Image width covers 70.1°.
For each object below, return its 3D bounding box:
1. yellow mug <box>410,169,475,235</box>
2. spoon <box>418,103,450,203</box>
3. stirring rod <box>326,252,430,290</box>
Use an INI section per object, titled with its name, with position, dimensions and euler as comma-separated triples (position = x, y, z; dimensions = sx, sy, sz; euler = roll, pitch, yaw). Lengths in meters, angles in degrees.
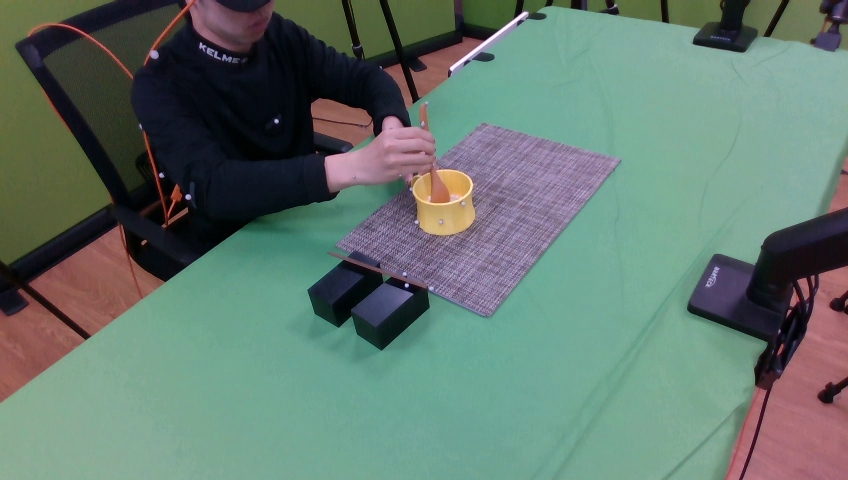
[yellow mug]
position = 0.022, -0.070, 1.007
dimensions = 0.129, 0.064, 0.100
euler = 29, 52, 36
[spoon]
position = 0.011, -0.126, 0.965
dimensions = 0.042, 0.194, 0.021
euler = -28, 32, -24
[stirring rod]
position = -0.068, 0.043, 0.859
dimensions = 0.175, 0.006, 0.014
euler = 17, 11, 26
